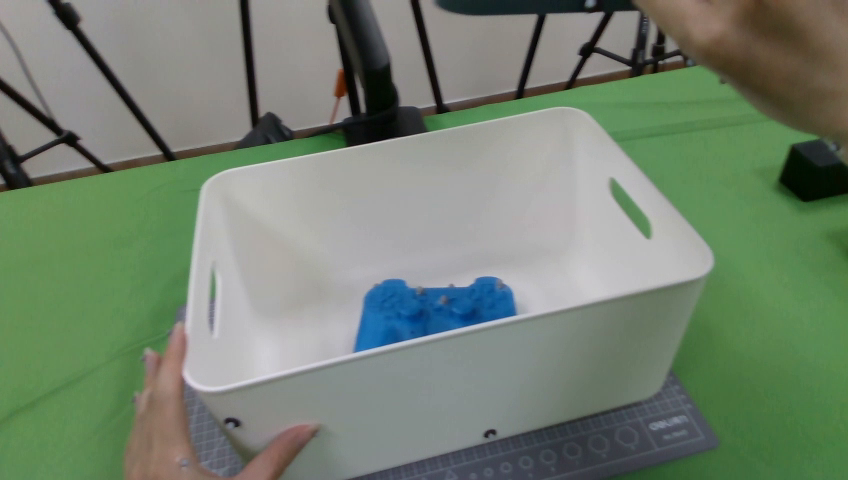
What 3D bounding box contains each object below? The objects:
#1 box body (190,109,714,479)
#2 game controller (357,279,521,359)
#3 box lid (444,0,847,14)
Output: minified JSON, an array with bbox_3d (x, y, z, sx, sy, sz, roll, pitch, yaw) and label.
[{"bbox_3d":[0.012,0.041,0.529,0.364,0.162,0.251,-13,40,-7],"label":"box body"},{"bbox_3d":[0.016,0.076,0.569,0.155,0.052,0.096,-2,37,5],"label":"game controller"},{"bbox_3d":[0.207,-0.205,0.400,0.371,0.015,0.261,3,40,11],"label":"box lid"}]
